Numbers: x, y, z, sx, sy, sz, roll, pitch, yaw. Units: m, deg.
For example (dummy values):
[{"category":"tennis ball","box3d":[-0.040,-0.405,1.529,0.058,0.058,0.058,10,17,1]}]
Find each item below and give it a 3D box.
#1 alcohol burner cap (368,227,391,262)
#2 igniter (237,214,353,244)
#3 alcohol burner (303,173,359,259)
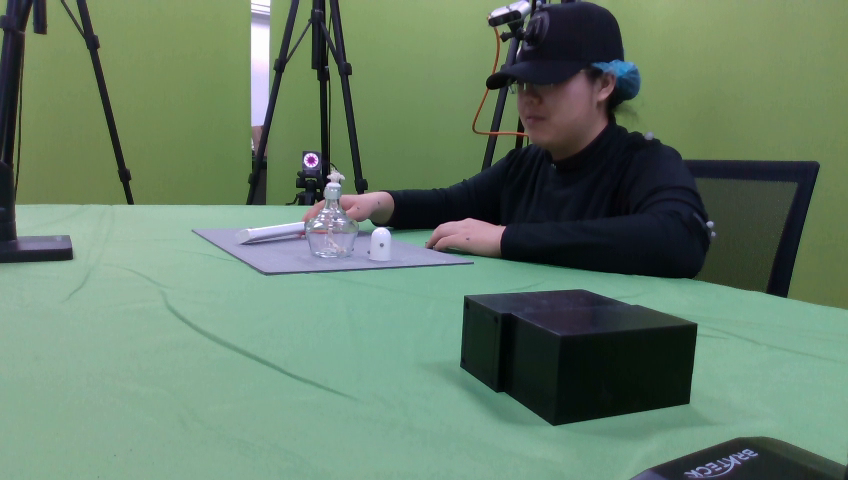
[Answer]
[{"category":"alcohol burner cap","box3d":[-0.060,0.006,0.836,0.034,0.048,0.034,3,7,0]},{"category":"igniter","box3d":[-0.207,-0.021,1.035,0.057,0.025,0.278,-23,-4,29]},{"category":"alcohol burner","box3d":[-0.130,-0.034,0.850,0.078,0.119,0.078,2,5,0]}]
